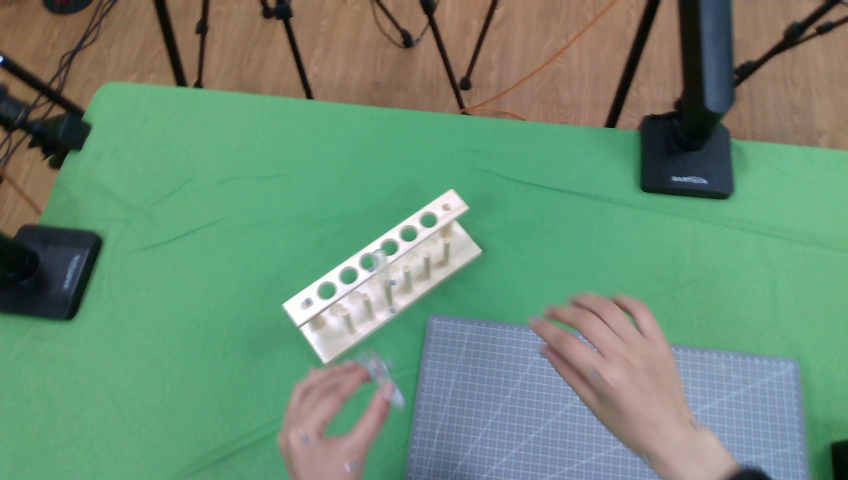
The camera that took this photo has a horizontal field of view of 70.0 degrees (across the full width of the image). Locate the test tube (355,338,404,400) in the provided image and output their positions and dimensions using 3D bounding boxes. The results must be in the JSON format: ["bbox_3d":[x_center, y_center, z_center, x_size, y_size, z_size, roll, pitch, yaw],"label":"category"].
[{"bbox_3d":[-0.036,0.117,0.535,0.017,0.151,0.017,-3,62,7],"label":"test tube"}]

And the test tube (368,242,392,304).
[{"bbox_3d":[-0.049,0.040,0.690,0.017,0.151,0.017,0,64,1],"label":"test tube"}]

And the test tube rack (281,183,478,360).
[{"bbox_3d":[-0.046,0.038,0.739,0.242,0.086,0.066,-36,70,-13],"label":"test tube rack"}]
